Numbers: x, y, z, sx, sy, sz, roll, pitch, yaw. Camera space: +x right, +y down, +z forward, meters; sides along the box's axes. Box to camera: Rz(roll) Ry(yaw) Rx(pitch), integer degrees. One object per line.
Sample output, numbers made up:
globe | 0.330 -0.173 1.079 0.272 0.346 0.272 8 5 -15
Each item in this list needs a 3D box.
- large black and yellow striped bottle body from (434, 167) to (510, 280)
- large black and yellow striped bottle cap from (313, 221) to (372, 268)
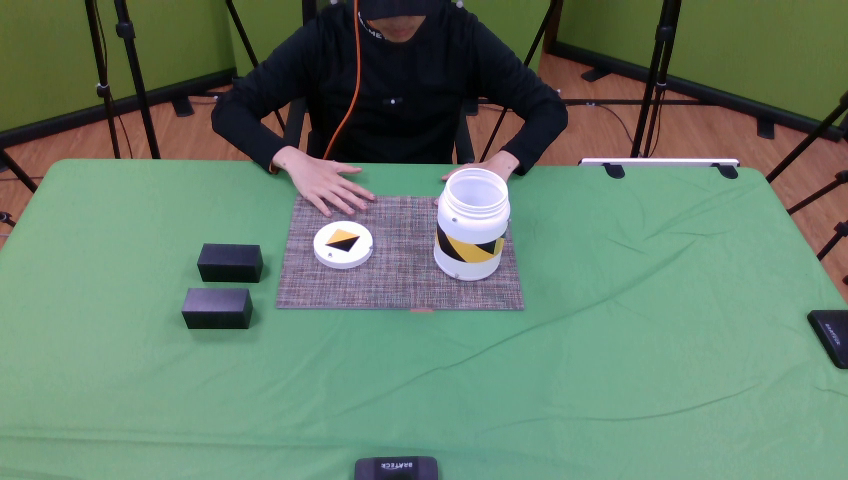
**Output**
large black and yellow striped bottle body | 0.087 -0.031 1.114 0.131 0.185 0.130 2 46 -2
large black and yellow striped bottle cap | -0.158 0.007 1.176 0.115 0.019 0.114 2 45 -2
